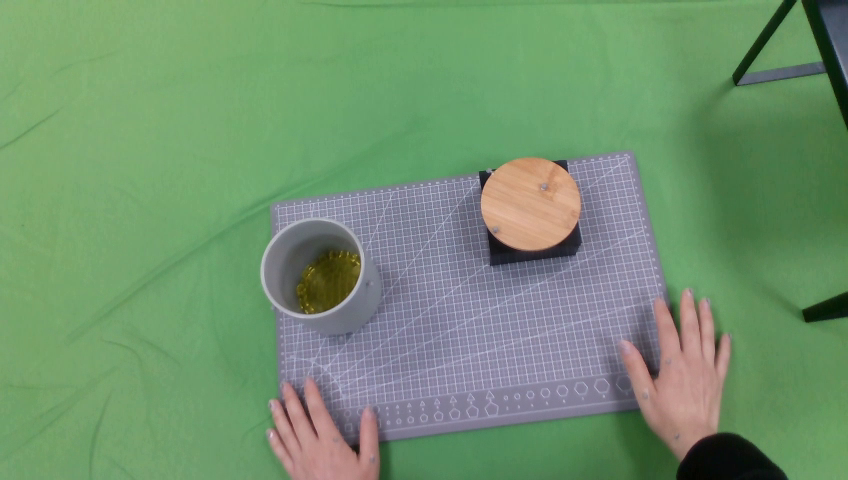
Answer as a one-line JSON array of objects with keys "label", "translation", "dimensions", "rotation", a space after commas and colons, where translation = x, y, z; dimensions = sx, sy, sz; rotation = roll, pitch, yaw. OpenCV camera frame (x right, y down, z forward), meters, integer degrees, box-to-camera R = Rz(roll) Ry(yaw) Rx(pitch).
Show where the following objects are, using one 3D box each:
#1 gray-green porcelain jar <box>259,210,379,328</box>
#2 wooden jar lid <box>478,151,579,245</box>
[{"label": "gray-green porcelain jar", "translation": [-0.107, 0.038, 0.656], "dimensions": [0.106, 0.127, 0.105], "rotation": [-1, 73, 4]}, {"label": "wooden jar lid", "translation": [0.114, -0.045, 0.665], "dimensions": [0.108, 0.021, 0.108], "rotation": [-1, 74, 5]}]
